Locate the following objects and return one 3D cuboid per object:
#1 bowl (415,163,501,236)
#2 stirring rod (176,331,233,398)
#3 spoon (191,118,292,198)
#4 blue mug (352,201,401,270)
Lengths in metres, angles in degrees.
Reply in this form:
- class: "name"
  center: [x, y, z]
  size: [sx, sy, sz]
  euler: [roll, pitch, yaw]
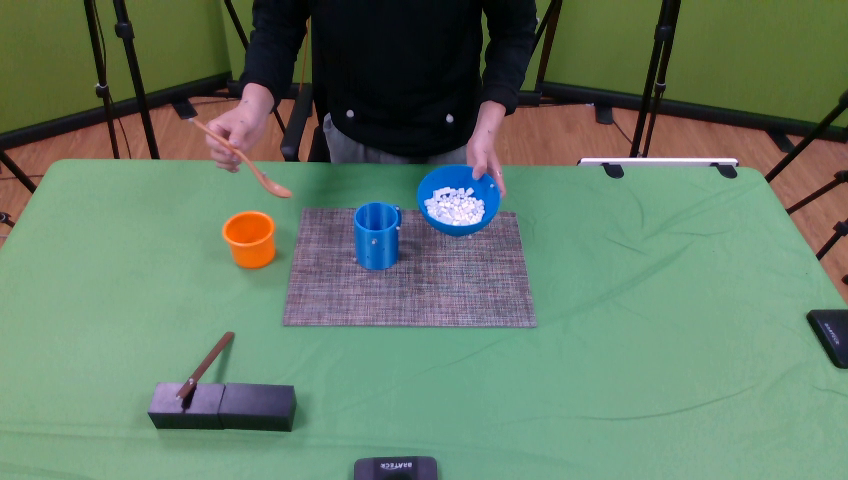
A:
- class: "bowl"
  center: [0.060, -0.060, 1.102]
  size: [0.151, 0.077, 0.150]
  euler: [0, 52, 0]
- class: "stirring rod"
  center: [-0.342, 0.192, 0.955]
  size: [0.014, 0.006, 0.175]
  euler: [3, 24, 7]
- class: "spoon"
  center: [-0.293, -0.131, 0.981]
  size: [0.021, 0.194, 0.041]
  euler: [-40, 23, 14]
- class: "blue mug"
  center: [-0.082, -0.017, 1.144]
  size: [0.082, 0.106, 0.116]
  euler: [30, 51, 22]
